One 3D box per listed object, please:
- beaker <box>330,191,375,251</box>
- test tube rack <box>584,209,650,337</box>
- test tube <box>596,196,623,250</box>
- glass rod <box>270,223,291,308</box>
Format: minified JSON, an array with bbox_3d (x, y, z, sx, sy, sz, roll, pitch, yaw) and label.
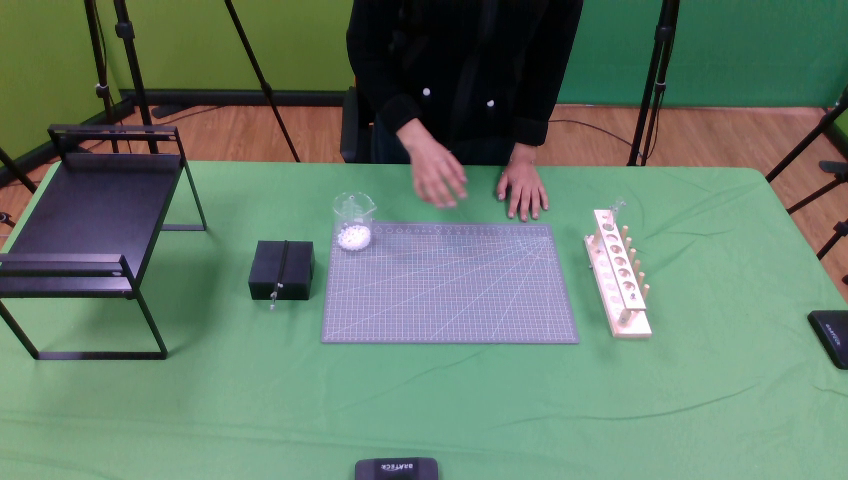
[{"bbox_3d":[-0.135,-0.034,1.163,0.084,0.101,0.073,3,46,-3],"label":"beaker"},{"bbox_3d":[0.365,0.056,1.129,0.067,0.085,0.240,1,46,-4],"label":"test tube rack"},{"bbox_3d":[0.348,-0.029,1.140,0.017,0.151,0.017,0,53,0],"label":"test tube"},{"bbox_3d":[-0.255,0.041,1.081,0.008,0.008,0.198,2,46,-2],"label":"glass rod"}]
